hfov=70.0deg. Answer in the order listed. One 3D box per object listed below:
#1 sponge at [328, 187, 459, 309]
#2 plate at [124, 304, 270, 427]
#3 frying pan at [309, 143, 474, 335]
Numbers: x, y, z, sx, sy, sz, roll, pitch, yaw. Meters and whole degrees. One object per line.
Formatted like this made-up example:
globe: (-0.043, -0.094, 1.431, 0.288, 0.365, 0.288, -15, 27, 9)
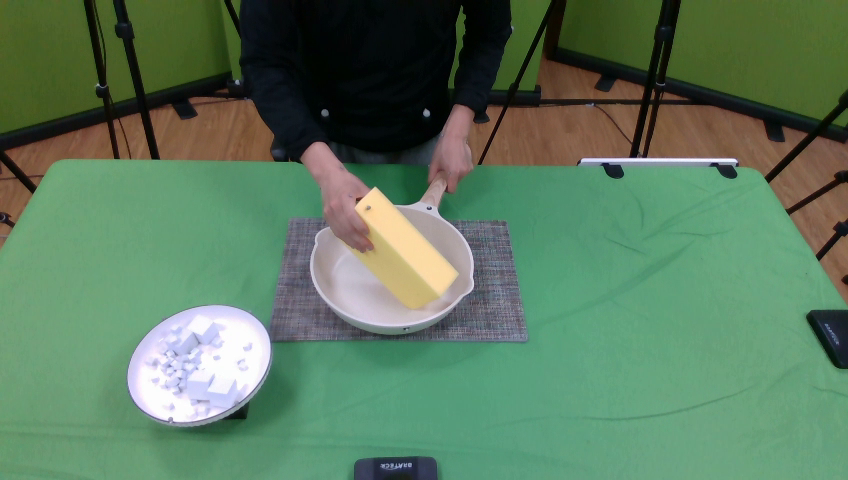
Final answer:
sponge: (-0.054, 0.019, 1.037, 0.207, 0.118, 0.061, 46, 57, -10)
plate: (-0.336, 0.189, 0.913, 0.208, 0.039, 0.206, 1, 46, -1)
frying pan: (-0.017, -0.022, 1.155, 0.306, 0.103, 0.486, 20, 56, 13)
